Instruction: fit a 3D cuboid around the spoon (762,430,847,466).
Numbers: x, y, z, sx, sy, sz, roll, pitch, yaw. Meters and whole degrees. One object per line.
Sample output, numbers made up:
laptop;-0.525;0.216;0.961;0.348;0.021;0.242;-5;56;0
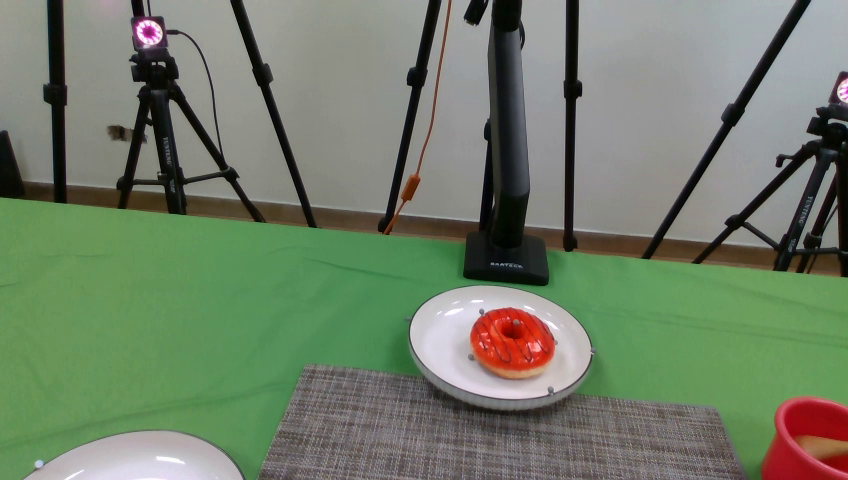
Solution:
spoon;0.393;0.172;0.527;0.193;0.022;0.041;-24;9;38

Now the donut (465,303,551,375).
donut;0.094;0.111;0.683;0.099;0.048;0.098;4;32;-2

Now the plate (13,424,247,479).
plate;-0.240;0.234;0.470;0.209;0.038;0.207;3;32;-1

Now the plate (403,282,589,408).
plate;0.079;0.120;0.691;0.208;0.039;0.206;3;29;-2
